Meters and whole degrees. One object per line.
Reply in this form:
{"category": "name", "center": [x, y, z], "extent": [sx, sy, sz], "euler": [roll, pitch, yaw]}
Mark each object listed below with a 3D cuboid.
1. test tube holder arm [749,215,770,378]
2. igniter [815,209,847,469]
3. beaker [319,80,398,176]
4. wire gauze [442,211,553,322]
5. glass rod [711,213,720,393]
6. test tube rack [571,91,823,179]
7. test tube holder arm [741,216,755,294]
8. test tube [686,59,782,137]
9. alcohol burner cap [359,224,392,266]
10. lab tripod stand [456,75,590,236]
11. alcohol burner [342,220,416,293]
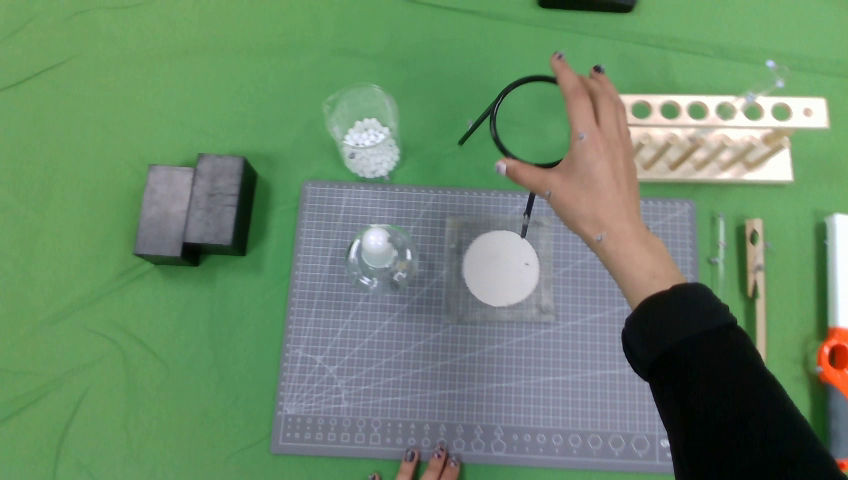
{"category": "test tube holder arm", "center": [0.364, 0.059, 0.659], "extent": [0.013, 0.015, 0.177], "euler": [-9, 72, 35]}
{"category": "igniter", "center": [0.445, 0.101, 0.646], "extent": [0.057, 0.025, 0.275], "euler": [10, 76, -8]}
{"category": "beaker", "center": [-0.068, -0.118, 0.662], "extent": [0.084, 0.101, 0.074], "euler": [21, 77, 6]}
{"category": "wire gauze", "center": [0.080, 0.028, 0.671], "extent": [0.121, 0.011, 0.124], "euler": [0, 80, 0]}
{"category": "glass rod", "center": [0.320, 0.066, 0.664], "extent": [0.008, 0.008, 0.199], "euler": [6, 79, 1]}
{"category": "test tube rack", "center": [0.294, -0.113, 0.668], "extent": [0.242, 0.085, 0.066], "euler": [0, 76, 0]}
{"category": "test tube holder arm", "center": [0.361, 0.016, 0.673], "extent": [0.010, 0.015, 0.087], "euler": [-7, 73, 36]}
{"category": "test tube", "center": [0.313, -0.140, 0.624], "extent": [0.017, 0.150, 0.017], "euler": [1, 76, -5]}
{"category": "alcohol burner cap", "center": [-0.048, 0.002, 0.586], "extent": [0.034, 0.048, 0.033], "euler": [1, 67, -3]}
{"category": "lab tripod stand", "center": [0.098, -0.090, 0.596], "extent": [0.148, 0.132, 0.147], "euler": [0, 77, 2]}
{"category": "alcohol burner", "center": [-0.048, 0.013, 0.620], "extent": [0.078, 0.119, 0.077], "euler": [0, 74, 1]}
